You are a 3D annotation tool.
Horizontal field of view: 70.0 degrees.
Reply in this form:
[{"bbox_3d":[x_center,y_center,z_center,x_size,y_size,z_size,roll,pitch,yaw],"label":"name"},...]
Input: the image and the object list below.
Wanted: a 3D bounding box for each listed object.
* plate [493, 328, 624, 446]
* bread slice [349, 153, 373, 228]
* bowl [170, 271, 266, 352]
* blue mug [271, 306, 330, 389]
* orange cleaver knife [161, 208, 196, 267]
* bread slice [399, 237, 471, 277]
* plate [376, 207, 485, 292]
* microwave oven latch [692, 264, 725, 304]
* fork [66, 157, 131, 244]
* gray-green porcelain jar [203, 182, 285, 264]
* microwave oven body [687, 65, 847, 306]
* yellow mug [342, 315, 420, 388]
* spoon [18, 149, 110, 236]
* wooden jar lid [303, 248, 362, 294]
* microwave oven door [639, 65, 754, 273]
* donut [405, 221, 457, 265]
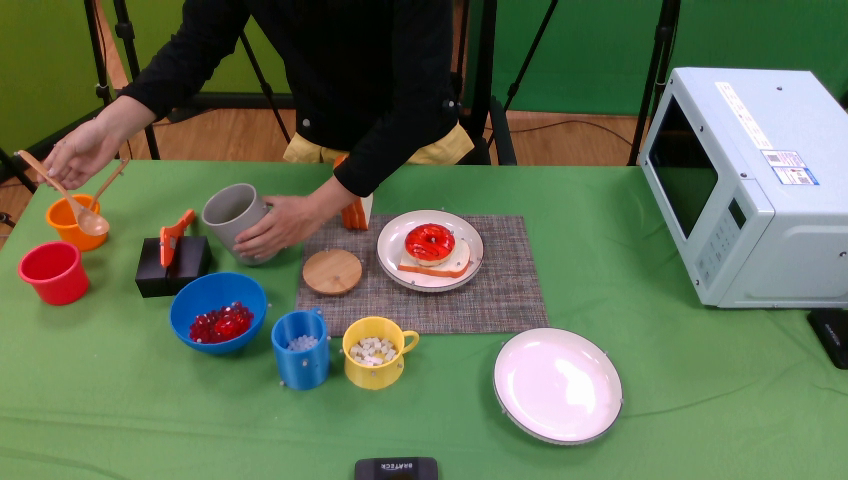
[{"bbox_3d":[0.213,0.236,0.974,0.208,0.039,0.206,2,46,-2],"label":"plate"},{"bbox_3d":[-0.125,-0.104,1.207,0.018,0.135,0.106,-1,48,7],"label":"bread slice"},{"bbox_3d":[-0.333,0.132,1.006,0.151,0.077,0.150,2,46,-2],"label":"bowl"},{"bbox_3d":[-0.188,0.163,0.969,0.082,0.106,0.116,15,47,10],"label":"blue mug"},{"bbox_3d":[-0.454,-0.010,1.129,0.012,0.077,0.210,-3,17,-5],"label":"orange cleaver knife"},{"bbox_3d":[0.025,0.025,1.161,0.131,0.019,0.104,7,47,8],"label":"bread slice"},{"bbox_3d":[0.012,0.020,1.159,0.209,0.038,0.208,2,47,-2],"label":"plate"},{"bbox_3d":[0.522,0.081,1.115,0.030,0.029,0.078,1,46,-2],"label":"microwave oven latch"},{"bbox_3d":[-0.608,-0.074,1.133,0.207,0.019,0.028,-52,51,10],"label":"fork"},{"bbox_3d":[-0.324,-0.025,1.112,0.106,0.127,0.105,-12,46,13],"label":"gray-green porcelain jar"},{"bbox_3d":[0.669,-0.111,1.176,0.326,0.261,0.439,0,46,-3],"label":"microwave oven body"},{"bbox_3d":[-0.068,0.177,0.991,0.131,0.064,0.099,-15,50,-19],"label":"yellow mug"},{"bbox_3d":[-0.591,-0.079,0.993,0.194,0.021,0.041,49,50,-4],"label":"spoon"},{"bbox_3d":[-0.169,0.059,1.122,0.108,0.021,0.107,3,46,-2],"label":"wooden jar lid"},{"bbox_3d":[0.522,-0.147,1.192,0.039,0.245,0.353,0,47,-3],"label":"microwave oven door"},{"bbox_3d":[0.013,0.004,1.136,0.099,0.048,0.098,0,46,0],"label":"donut"}]
